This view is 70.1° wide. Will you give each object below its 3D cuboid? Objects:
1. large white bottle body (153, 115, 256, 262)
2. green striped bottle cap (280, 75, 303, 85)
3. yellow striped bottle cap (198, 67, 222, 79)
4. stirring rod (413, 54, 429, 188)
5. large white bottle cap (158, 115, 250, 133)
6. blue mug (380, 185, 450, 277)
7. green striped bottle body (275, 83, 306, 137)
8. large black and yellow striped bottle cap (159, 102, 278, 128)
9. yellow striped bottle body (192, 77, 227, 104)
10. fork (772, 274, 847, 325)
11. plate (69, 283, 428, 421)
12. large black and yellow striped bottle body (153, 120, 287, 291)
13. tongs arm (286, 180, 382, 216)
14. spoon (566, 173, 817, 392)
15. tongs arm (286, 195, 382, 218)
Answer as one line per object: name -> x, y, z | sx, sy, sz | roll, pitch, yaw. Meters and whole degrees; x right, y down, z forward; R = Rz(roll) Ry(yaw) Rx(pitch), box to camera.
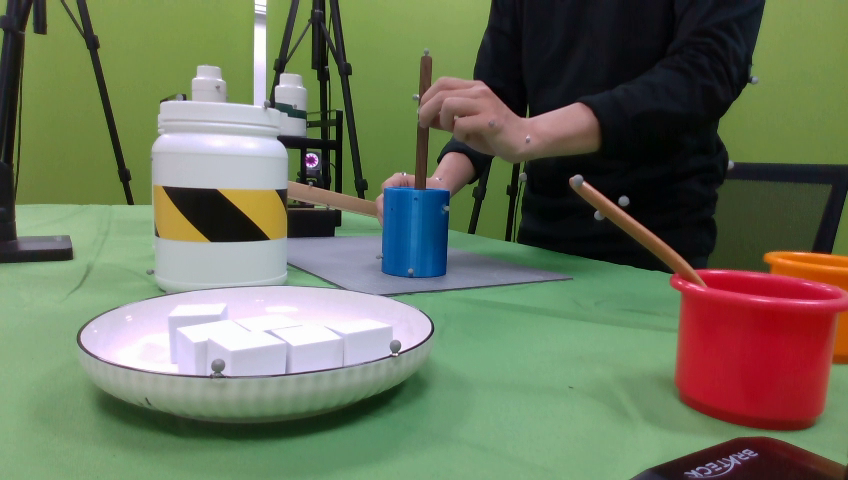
large white bottle body -> -0.293, -0.070, 0.813 | 0.131, 0.184, 0.130 | 2, 7, 0
green striped bottle cap -> -0.267, -0.321, 1.216 | 0.044, 0.020, 0.044 | 1, 8, 0
yellow striped bottle cap -> -0.412, -0.320, 1.162 | 0.044, 0.018, 0.044 | 1, 5, 0
stirring rod -> -0.004, -0.125, 0.702 | 0.014, 0.176, 0.006 | 4, 9, 12
large white bottle cap -> -0.291, -0.153, 0.803 | 0.115, 0.018, 0.115 | 1, 7, 0
blue mug -> -0.017, -0.016, 0.763 | 0.083, 0.106, 0.116 | -1, 7, -21
green striped bottle body -> -0.269, -0.269, 1.221 | 0.063, 0.119, 0.063 | 2, 7, 0
large black and yellow striped bottle cap -> -0.207, -0.125, 0.615 | 0.115, 0.019, 0.115 | 2, 6, 0
yellow striped bottle body -> -0.414, -0.268, 1.169 | 0.063, 0.120, 0.063 | 2, 7, 0
fork -> 0.332, 0.019, 0.444 | 0.028, 0.018, 0.207 | 0, -36, -14
plate -> -0.102, 0.066, 0.381 | 0.208, 0.039, 0.207 | 2, 7, 0
large black and yellow striped bottle body -> -0.208, -0.042, 0.626 | 0.131, 0.184, 0.130 | 2, 7, 0
tongs arm -> -0.122, -0.066, 1.147 | 0.387, 0.026, 0.050 | 11, -2, -37
spoon -> 0.161, 0.024, 0.370 | 0.193, 0.021, 0.042 | 47, 17, 3
tongs arm -> -0.165, -0.074, 1.216 | 0.389, 0.027, 0.028 | 11, -6, -24
